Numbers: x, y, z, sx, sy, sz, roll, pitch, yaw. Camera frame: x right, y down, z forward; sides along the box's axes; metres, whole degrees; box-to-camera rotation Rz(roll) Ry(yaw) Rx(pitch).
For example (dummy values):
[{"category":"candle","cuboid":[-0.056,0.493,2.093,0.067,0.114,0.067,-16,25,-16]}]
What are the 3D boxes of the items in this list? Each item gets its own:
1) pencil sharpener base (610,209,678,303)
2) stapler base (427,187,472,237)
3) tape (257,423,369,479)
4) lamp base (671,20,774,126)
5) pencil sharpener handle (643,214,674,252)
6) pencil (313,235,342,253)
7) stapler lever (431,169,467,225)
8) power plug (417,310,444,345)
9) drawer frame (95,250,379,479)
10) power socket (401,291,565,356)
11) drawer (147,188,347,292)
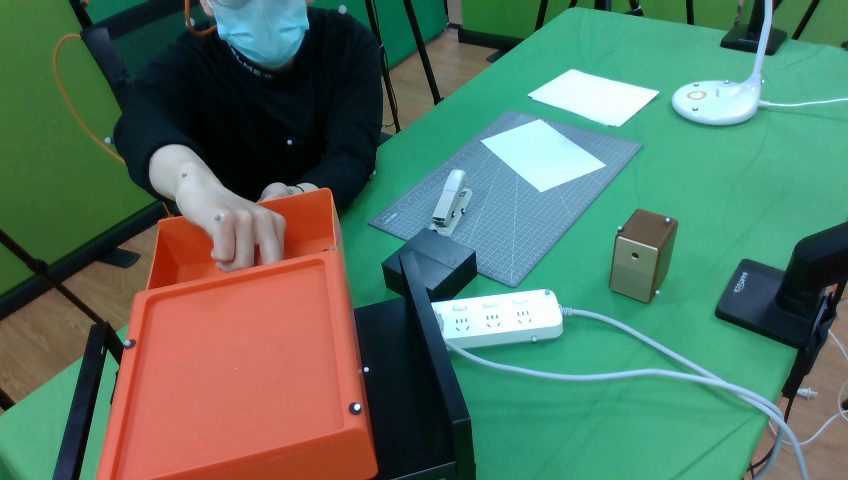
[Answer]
[{"category":"pencil sharpener base","cuboid":[0.304,0.021,0.839,0.061,0.107,0.077,21,48,30]},{"category":"stapler base","cuboid":[0.045,-0.057,1.028,0.041,0.024,0.130,9,44,21]},{"category":"tape","cuboid":[-0.121,0.263,0.660,0.117,0.053,0.116,-5,39,4]},{"category":"lamp base","cuboid":[0.581,-0.332,1.154,0.179,0.181,0.160,2,41,7]},{"category":"pencil sharpener handle","cuboid":[0.338,-0.016,0.857,0.035,0.068,0.031,1,35,44]},{"category":"pencil","cuboid":[-0.162,0.052,0.643,0.194,0.012,0.012,-40,49,-21]},{"category":"stapler lever","cuboid":[0.043,-0.074,1.010,0.026,0.040,0.118,9,44,21]},{"category":"power plug","cuboid":[0.006,0.122,0.785,0.035,0.053,0.072,0,40,9]},{"category":"drawer frame","cuboid":[-0.155,0.119,0.532,0.202,0.083,0.212,-12,41,-7]},{"category":"power socket","cuboid":[0.080,0.112,0.822,0.227,0.033,0.072,-6,41,0]},{"category":"drawer","cuboid":[-0.179,0.048,0.623,0.195,0.073,0.210,-11,41,-5]}]
